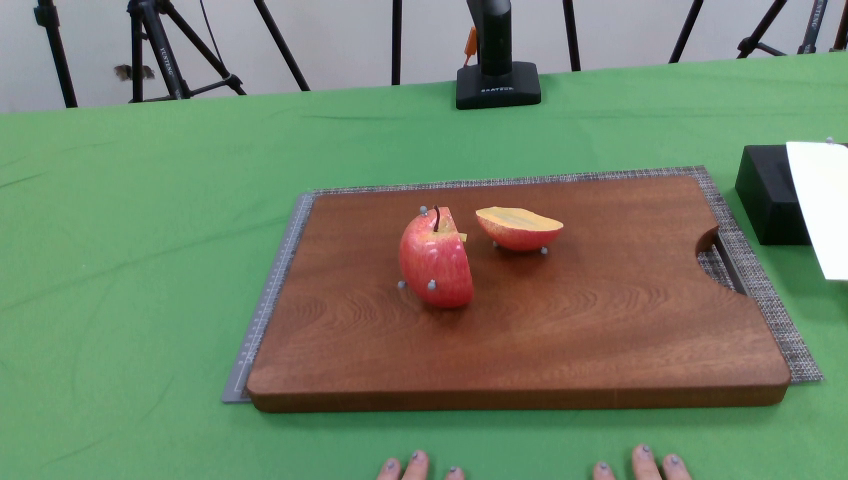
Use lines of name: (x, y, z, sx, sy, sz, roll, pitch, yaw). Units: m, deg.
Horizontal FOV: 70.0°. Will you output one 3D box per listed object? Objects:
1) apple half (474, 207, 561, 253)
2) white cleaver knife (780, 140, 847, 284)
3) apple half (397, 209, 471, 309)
apple half: (0.080, -0.005, 0.549, 0.081, 0.033, 0.081, 7, 18, -2)
white cleaver knife: (0.354, 0.016, 0.498, 0.066, 0.022, 0.284, -2, 49, 13)
apple half: (0.005, 0.020, 0.504, 0.053, 0.075, 0.080, -15, 42, -3)
